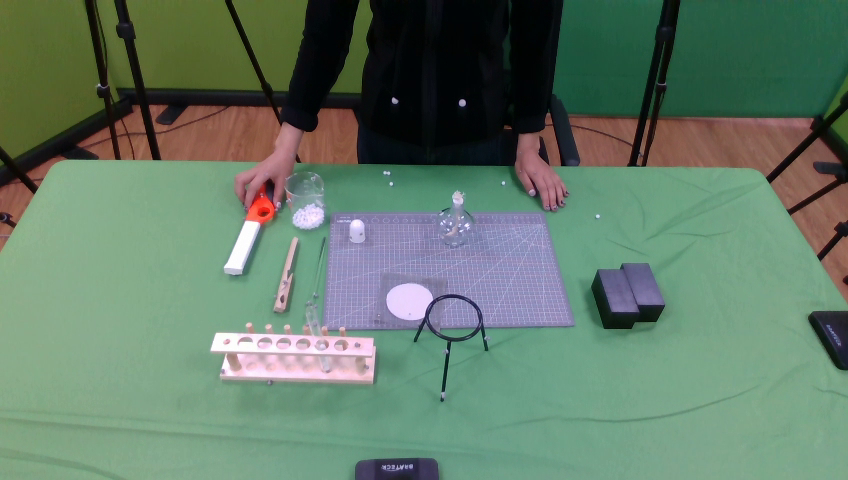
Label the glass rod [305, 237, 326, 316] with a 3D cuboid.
[{"bbox_3d":[-0.202,0.064,1.131,0.008,0.008,0.198,3,44,0],"label":"glass rod"}]

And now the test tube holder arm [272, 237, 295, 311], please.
[{"bbox_3d":[-0.258,0.059,1.123,0.013,0.015,0.177,27,39,-25],"label":"test tube holder arm"}]

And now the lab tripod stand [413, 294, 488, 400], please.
[{"bbox_3d":[0.044,0.159,0.972,0.148,0.132,0.147,2,44,-2],"label":"lab tripod stand"}]

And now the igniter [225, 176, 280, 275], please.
[{"bbox_3d":[-0.338,-0.039,1.207,0.057,0.025,0.275,7,45,0],"label":"igniter"}]

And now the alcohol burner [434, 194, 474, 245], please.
[{"bbox_3d":[0.061,-0.046,1.183,0.078,0.119,0.077,3,47,-3],"label":"alcohol burner"}]

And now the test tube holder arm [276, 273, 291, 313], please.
[{"bbox_3d":[-0.253,0.093,1.094,0.010,0.015,0.087,27,39,-25],"label":"test tube holder arm"}]

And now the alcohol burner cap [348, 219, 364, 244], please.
[{"bbox_3d":[-0.134,-0.019,1.190,0.034,0.048,0.033,2,45,-2],"label":"alcohol burner cap"}]

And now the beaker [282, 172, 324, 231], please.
[{"bbox_3d":[-0.234,-0.073,1.199,0.084,0.101,0.074,24,50,17],"label":"beaker"}]

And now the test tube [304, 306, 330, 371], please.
[{"bbox_3d":[-0.162,0.153,0.925,0.017,0.151,0.017,-2,44,2],"label":"test tube"}]

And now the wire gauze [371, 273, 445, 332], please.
[{"bbox_3d":[-0.028,0.108,1.100,0.125,0.011,0.121,7,45,4],"label":"wire gauze"}]

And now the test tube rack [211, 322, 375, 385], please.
[{"bbox_3d":[-0.203,0.176,0.969,0.242,0.085,0.066,3,46,-2],"label":"test tube rack"}]
